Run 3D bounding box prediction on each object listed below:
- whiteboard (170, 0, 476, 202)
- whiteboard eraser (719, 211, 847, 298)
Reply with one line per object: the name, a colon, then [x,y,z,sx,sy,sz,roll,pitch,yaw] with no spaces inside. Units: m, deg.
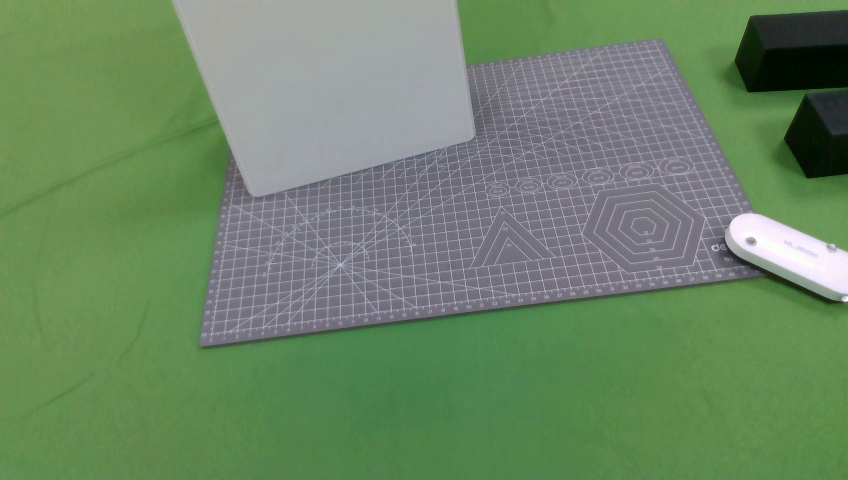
whiteboard: [-0.096,-0.223,0.530,0.217,0.308,0.142,-16,34,-4]
whiteboard eraser: [0.276,0.010,0.454,0.100,0.019,0.041,28,60,22]
